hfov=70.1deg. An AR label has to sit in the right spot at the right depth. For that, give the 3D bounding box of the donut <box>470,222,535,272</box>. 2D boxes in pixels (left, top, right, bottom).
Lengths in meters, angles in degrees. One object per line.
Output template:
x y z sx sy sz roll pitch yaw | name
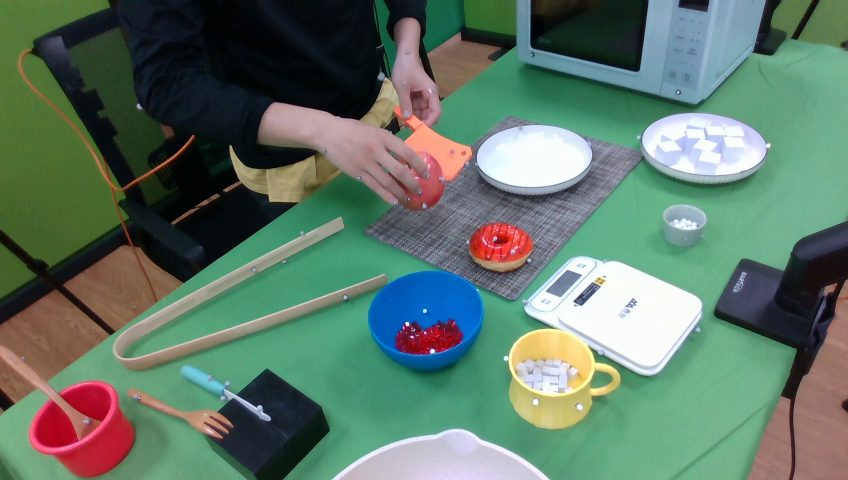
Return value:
0.119 0.009 0.923 0.099 0.048 0.098 -4 38 3 | donut

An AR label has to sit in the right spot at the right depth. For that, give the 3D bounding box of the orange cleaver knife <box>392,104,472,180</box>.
-0.004 -0.161 0.976 0.077 0.012 0.209 -39 51 -11 | orange cleaver knife

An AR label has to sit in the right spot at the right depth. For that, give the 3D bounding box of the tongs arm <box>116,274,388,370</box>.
-0.236 0.115 0.870 0.389 0.028 0.028 -18 49 -13 | tongs arm

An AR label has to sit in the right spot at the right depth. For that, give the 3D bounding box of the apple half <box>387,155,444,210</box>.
-0.010 -0.074 0.855 0.081 0.075 0.053 -11 46 5 | apple half

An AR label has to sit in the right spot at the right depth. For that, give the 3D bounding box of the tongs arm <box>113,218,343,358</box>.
-0.280 0.067 0.926 0.386 0.026 0.050 -29 49 -24 | tongs arm

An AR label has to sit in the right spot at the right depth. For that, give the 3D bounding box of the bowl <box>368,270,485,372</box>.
0.007 0.118 0.791 0.151 0.077 0.150 -4 40 4 | bowl

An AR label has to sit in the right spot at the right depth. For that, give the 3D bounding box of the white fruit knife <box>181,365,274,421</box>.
-0.245 0.187 0.747 0.205 0.027 0.016 9 41 40 | white fruit knife

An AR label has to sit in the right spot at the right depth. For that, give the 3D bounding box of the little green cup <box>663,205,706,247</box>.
0.396 -0.021 0.926 0.061 0.039 0.061 -4 40 4 | little green cup

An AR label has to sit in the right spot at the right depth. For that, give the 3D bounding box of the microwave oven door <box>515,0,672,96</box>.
0.343 -0.455 1.259 0.353 0.245 0.039 26 51 33 | microwave oven door

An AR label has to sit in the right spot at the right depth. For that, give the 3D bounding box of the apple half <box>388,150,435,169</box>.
-0.013 -0.102 0.883 0.081 0.081 0.032 -6 45 2 | apple half

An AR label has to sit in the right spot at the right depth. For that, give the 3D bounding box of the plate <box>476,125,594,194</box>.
0.199 -0.141 1.093 0.209 0.038 0.208 -4 40 4 | plate

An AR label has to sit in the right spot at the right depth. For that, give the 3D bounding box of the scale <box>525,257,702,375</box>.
0.254 0.091 0.821 0.199 0.032 0.149 28 51 35 | scale

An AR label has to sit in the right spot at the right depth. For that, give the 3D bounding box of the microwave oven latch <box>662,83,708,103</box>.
0.517 -0.296 1.204 0.078 0.029 0.030 28 52 35 | microwave oven latch

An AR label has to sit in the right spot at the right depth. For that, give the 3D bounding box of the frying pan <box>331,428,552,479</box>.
-0.089 0.306 0.564 0.487 0.103 0.306 10 41 7 | frying pan

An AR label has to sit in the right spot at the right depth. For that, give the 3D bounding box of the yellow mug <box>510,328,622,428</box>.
0.169 0.164 0.722 0.130 0.064 0.099 0 40 8 | yellow mug

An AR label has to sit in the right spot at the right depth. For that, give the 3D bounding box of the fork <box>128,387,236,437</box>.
-0.305 0.208 0.744 0.206 0.019 0.028 3 42 36 | fork

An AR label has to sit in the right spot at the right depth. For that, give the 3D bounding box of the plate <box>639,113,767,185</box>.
0.489 -0.157 1.074 0.207 0.039 0.206 -4 40 4 | plate

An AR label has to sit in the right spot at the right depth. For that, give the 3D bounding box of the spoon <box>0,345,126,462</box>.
-0.434 0.192 0.720 0.194 0.021 0.042 47 54 -7 | spoon

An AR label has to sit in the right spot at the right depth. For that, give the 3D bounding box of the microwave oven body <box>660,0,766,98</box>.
0.472 -0.513 1.317 0.438 0.261 0.327 26 51 34 | microwave oven body
